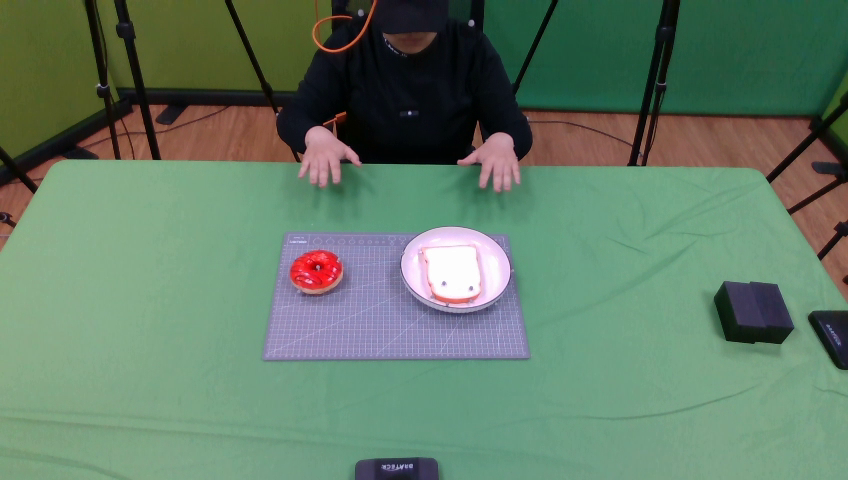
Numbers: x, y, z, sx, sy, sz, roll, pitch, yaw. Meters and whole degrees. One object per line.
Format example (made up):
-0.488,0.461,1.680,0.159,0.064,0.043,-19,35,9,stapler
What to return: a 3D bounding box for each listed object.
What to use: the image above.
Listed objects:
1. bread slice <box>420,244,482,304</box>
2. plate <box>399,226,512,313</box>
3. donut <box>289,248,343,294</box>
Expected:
0.056,0.062,1.131,0.107,0.018,0.133,-6,47,-8,bread slice
0.057,0.057,1.134,0.209,0.038,0.208,2,46,-2,plate
-0.197,0.056,1.111,0.099,0.048,0.098,1,45,-1,donut
